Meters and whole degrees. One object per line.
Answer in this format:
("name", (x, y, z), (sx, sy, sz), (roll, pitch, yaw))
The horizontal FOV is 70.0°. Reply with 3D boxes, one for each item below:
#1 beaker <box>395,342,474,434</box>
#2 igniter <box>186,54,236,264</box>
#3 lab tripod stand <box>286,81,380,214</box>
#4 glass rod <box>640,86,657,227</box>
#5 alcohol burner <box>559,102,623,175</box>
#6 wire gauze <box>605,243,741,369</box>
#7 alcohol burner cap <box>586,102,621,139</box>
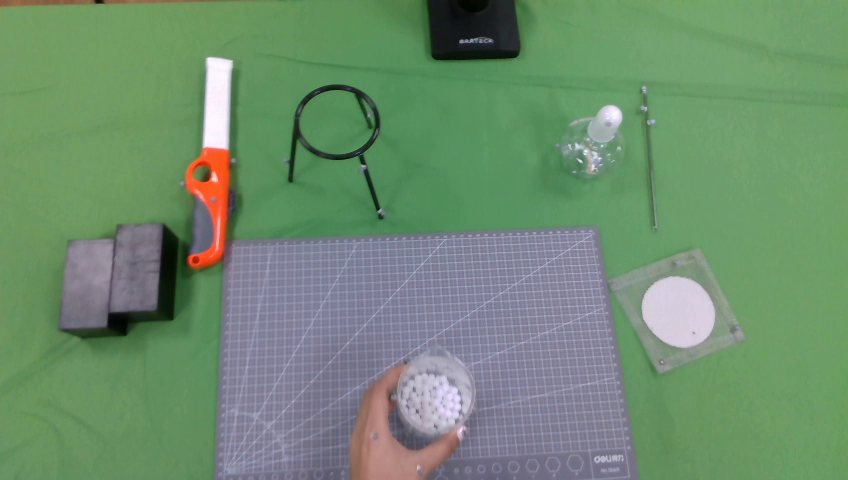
("beaker", (0.006, 0.153, 0.607), (0.074, 0.101, 0.083), (2, 68, -4))
("igniter", (-0.256, -0.103, 0.735), (0.057, 0.025, 0.274), (3, 71, -18))
("lab tripod stand", (-0.095, -0.111, 0.692), (0.148, 0.132, 0.147), (1, 70, -2))
("glass rod", (0.288, -0.111, 0.781), (0.008, 0.008, 0.198), (3, 72, -3))
("alcohol burner", (0.205, -0.127, 0.726), (0.078, 0.120, 0.077), (1, 70, -3))
("wire gauze", (0.297, 0.077, 0.721), (0.125, 0.011, 0.120), (-20, 74, -7))
("alcohol burner cap", (0.208, -0.139, 0.692), (0.034, 0.048, 0.033), (0, 76, -1))
